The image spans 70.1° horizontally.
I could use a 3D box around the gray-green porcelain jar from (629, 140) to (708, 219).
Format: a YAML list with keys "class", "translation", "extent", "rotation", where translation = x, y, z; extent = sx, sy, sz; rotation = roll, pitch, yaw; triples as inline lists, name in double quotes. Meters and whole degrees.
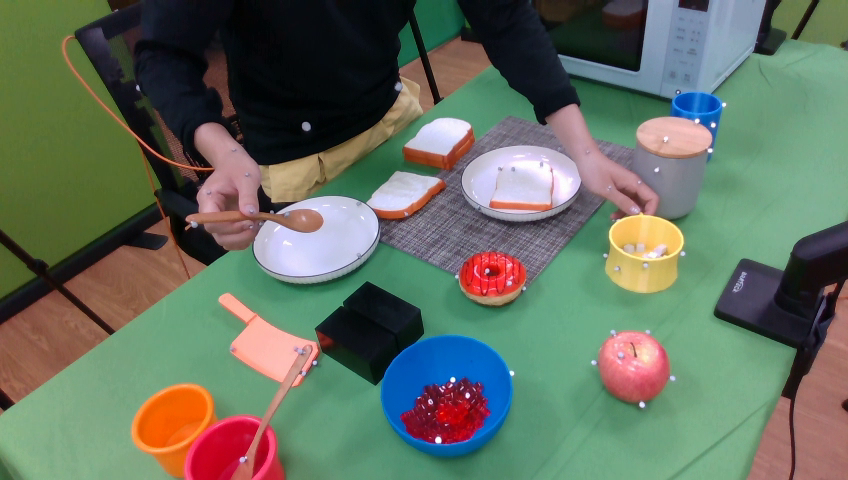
- class: "gray-green porcelain jar"
  translation: [0.383, -0.105, 0.958]
  extent: [0.106, 0.127, 0.105]
  rotation: [-4, 41, 4]

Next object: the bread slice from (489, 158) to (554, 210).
- class: "bread slice"
  translation: [0.172, -0.099, 1.047]
  extent: [0.104, 0.019, 0.131]
  rotation: [4, 43, 12]

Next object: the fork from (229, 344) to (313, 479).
- class: "fork"
  translation: [-0.173, 0.205, 0.662]
  extent: [0.028, 0.019, 0.207]
  rotation: [29, 94, 35]

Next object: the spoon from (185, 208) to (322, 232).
- class: "spoon"
  translation: [-0.190, -0.026, 0.700]
  extent: [0.041, 0.021, 0.195]
  rotation: [50, 23, 22]

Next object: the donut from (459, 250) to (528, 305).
- class: "donut"
  translation: [0.100, 0.053, 0.872]
  extent: [0.099, 0.048, 0.098]
  rotation: [-5, 40, 4]

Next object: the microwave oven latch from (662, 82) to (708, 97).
- class: "microwave oven latch"
  translation: [0.518, -0.298, 1.203]
  extent: [0.078, 0.029, 0.030]
  rotation: [28, 53, 35]

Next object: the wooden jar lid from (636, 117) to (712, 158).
- class: "wooden jar lid"
  translation: [0.377, -0.151, 0.917]
  extent: [0.108, 0.021, 0.108]
  rotation: [-2, 42, 2]

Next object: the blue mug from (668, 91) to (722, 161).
- class: "blue mug"
  translation: [0.474, -0.207, 1.079]
  extent: [0.082, 0.106, 0.116]
  rotation: [4, 42, 13]

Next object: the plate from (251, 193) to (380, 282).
- class: "plate"
  translation: [-0.173, -0.001, 0.985]
  extent: [0.209, 0.038, 0.208]
  rotation: [-4, 40, 4]

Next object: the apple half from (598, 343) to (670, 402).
- class: "apple half"
  translation: [0.247, 0.161, 0.710]
  extent: [0.081, 0.075, 0.053]
  rotation: [2, 47, 5]

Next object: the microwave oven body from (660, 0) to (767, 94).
- class: "microwave oven body"
  translation: [0.474, -0.517, 1.313]
  extent: [0.438, 0.261, 0.327]
  rotation: [26, 51, 34]

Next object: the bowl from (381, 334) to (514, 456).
- class: "bowl"
  translation: [0.029, 0.192, 0.701]
  extent: [0.151, 0.077, 0.150]
  rotation: [-4, 40, 4]

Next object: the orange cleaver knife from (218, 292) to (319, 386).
- class: "orange cleaver knife"
  translation: [-0.235, 0.136, 0.850]
  extent: [0.209, 0.012, 0.077]
  rotation: [25, 57, 30]

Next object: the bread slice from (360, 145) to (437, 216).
- class: "bread slice"
  translation: [-0.053, -0.103, 1.046]
  extent: [0.106, 0.018, 0.134]
  rotation: [19, 67, 22]

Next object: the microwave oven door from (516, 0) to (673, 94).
- class: "microwave oven door"
  translation: [0.344, -0.459, 1.257]
  extent: [0.353, 0.245, 0.039]
  rotation: [26, 52, 33]

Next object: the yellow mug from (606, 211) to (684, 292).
- class: "yellow mug"
  translation: [0.318, 0.008, 0.883]
  extent: [0.100, 0.064, 0.130]
  rotation: [0, 41, 9]

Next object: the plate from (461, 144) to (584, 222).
- class: "plate"
  translation: [0.168, -0.095, 1.040]
  extent: [0.207, 0.039, 0.206]
  rotation: [-4, 40, 4]

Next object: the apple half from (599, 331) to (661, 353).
- class: "apple half"
  translation: [0.249, 0.134, 0.738]
  extent: [0.081, 0.081, 0.032]
  rotation: [-1, 46, 7]
